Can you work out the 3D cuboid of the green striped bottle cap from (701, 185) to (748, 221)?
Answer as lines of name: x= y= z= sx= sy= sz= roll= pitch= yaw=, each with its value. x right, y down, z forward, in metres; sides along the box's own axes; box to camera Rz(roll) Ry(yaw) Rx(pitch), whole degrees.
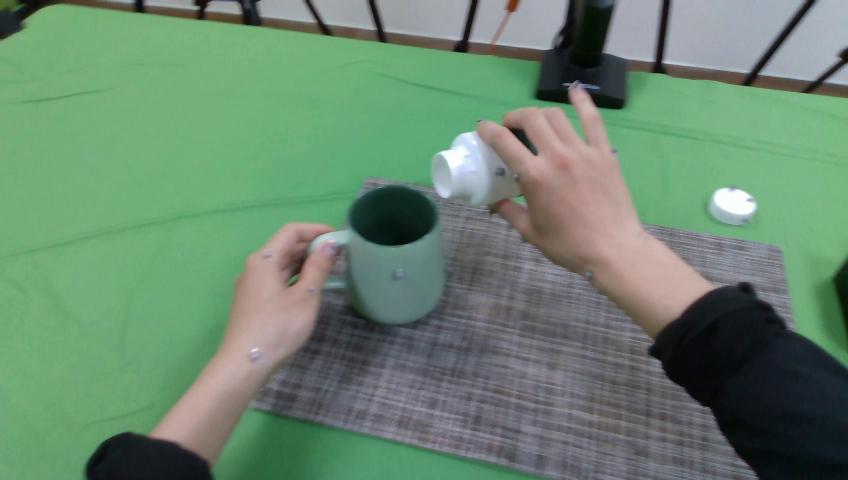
green striped bottle cap: x=0.329 y=-0.041 z=0.664 sx=0.044 sy=0.020 sz=0.044 roll=2 pitch=43 yaw=-1

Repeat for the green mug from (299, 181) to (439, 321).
green mug: x=-0.048 y=0.014 z=0.539 sx=0.125 sy=0.106 sz=0.091 roll=-9 pitch=48 yaw=-9

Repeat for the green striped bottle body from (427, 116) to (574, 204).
green striped bottle body: x=0.063 y=-0.068 z=0.518 sx=0.119 sy=0.063 sz=0.062 roll=-14 pitch=48 yaw=-24
